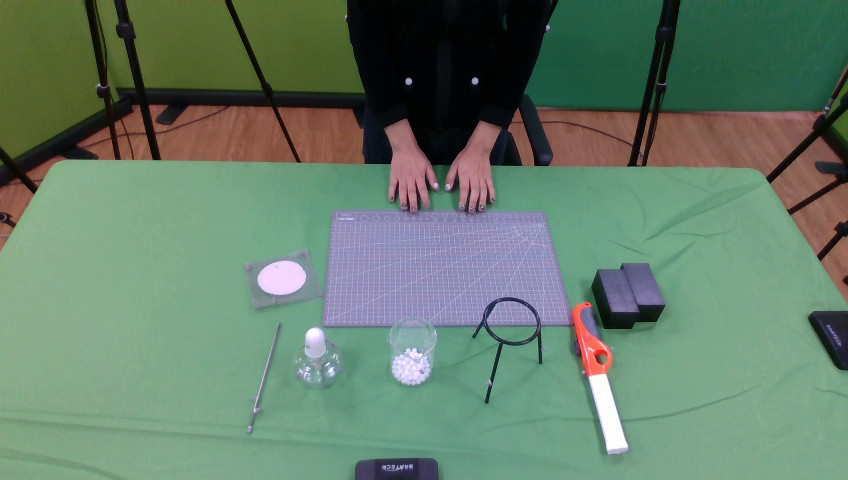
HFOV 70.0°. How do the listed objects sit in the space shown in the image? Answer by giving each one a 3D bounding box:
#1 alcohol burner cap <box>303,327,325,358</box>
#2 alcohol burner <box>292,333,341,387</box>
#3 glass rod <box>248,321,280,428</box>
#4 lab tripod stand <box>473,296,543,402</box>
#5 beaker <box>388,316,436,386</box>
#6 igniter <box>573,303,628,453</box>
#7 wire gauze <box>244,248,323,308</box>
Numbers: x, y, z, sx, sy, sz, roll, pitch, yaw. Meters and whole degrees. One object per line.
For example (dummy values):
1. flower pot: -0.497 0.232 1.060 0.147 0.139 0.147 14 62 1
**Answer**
1. alcohol burner cap: -0.169 0.154 0.925 0.034 0.048 0.033 4 41 -3
2. alcohol burner: -0.170 0.179 0.950 0.078 0.120 0.077 2 48 -2
3. glass rod: -0.257 0.213 0.984 0.008 0.008 0.198 4 46 1
4. lab tripod stand: 0.132 0.168 0.969 0.148 0.132 0.147 3 48 -3
5. beaker: -0.019 0.183 0.968 0.074 0.101 0.083 -7 48 -10
6. igniter: 0.288 0.216 1.006 0.057 0.025 0.274 -10 46 8
7. wire gauze: -0.262 0.071 1.121 0.125 0.011 0.120 -11 48 -17
